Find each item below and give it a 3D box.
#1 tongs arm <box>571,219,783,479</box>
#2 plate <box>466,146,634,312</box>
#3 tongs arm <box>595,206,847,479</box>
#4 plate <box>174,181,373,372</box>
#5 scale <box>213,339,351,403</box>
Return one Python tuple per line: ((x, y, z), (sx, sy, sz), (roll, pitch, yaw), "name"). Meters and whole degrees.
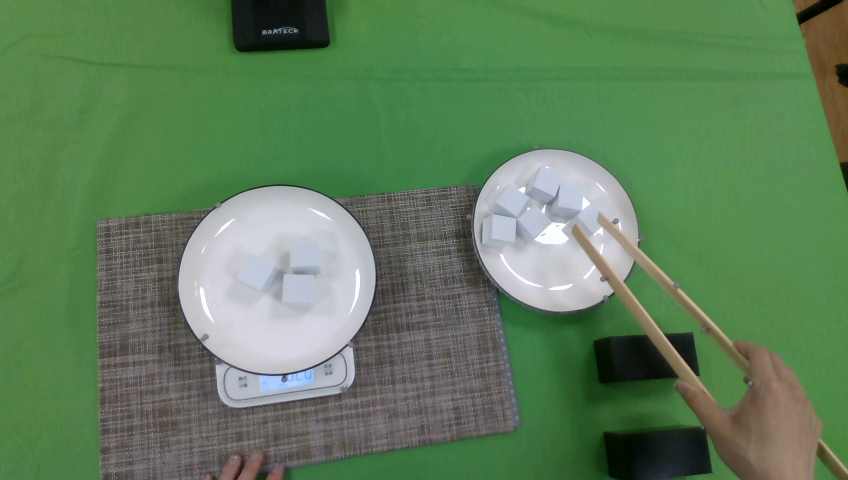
((0.265, 0.124, 0.602), (0.028, 0.028, 0.384), (-26, 63, -15), "tongs arm")
((0.152, -0.012, 0.746), (0.208, 0.039, 0.206), (2, 76, -7), "plate")
((0.285, 0.114, 0.607), (0.051, 0.027, 0.381), (-32, 64, -14), "tongs arm")
((-0.160, 0.038, 0.661), (0.209, 0.038, 0.208), (2, 76, -7), "plate")
((-0.165, 0.075, 0.685), (0.149, 0.031, 0.200), (-6, 77, -8), "scale")
